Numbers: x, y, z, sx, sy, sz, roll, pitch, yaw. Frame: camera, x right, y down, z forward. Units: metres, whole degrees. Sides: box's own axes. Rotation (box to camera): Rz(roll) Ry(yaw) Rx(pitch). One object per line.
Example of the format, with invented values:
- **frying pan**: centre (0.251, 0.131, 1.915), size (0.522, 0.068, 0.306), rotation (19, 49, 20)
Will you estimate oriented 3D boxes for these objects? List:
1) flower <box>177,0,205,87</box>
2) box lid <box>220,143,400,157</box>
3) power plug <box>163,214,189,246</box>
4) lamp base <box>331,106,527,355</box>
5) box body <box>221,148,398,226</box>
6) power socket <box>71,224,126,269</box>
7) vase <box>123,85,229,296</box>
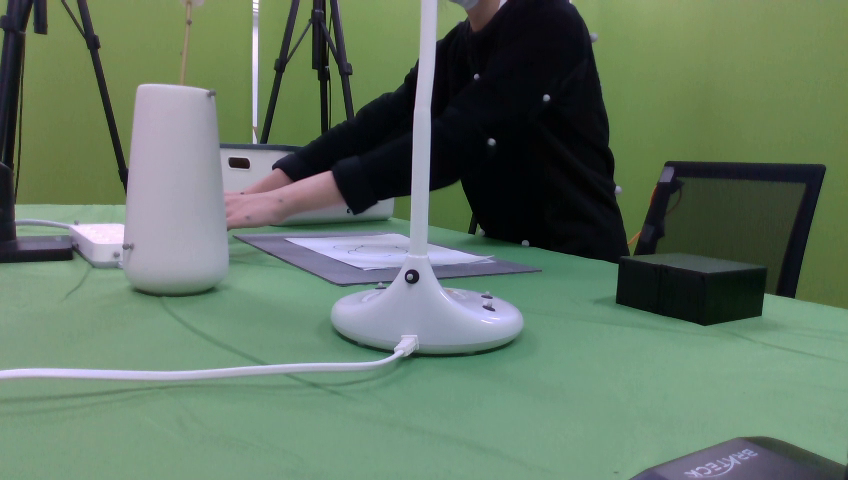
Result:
- **flower**: centre (-0.243, -0.131, 0.609), size (0.044, 0.361, 0.038), rotation (-5, -12, 12)
- **box lid**: centre (-0.263, -0.202, 1.369), size (0.262, 0.015, 0.373), rotation (8, 9, 39)
- **power plug**: centre (-0.364, -0.011, 0.909), size (0.035, 0.052, 0.072), rotation (4, -15, 2)
- **lamp base**: centre (0.006, -0.012, 0.478), size (0.161, 0.180, 0.179), rotation (2, 10, 2)
- **box body**: centre (-0.264, -0.129, 1.380), size (0.253, 0.160, 0.366), rotation (8, 9, 39)
- **power socket**: centre (-0.409, 0.004, 0.792), size (0.072, 0.032, 0.225), rotation (-2, 8, -37)
- **vase**: centre (-0.244, -0.047, 0.598), size (0.098, 0.200, 0.098), rotation (3, 8, 0)
